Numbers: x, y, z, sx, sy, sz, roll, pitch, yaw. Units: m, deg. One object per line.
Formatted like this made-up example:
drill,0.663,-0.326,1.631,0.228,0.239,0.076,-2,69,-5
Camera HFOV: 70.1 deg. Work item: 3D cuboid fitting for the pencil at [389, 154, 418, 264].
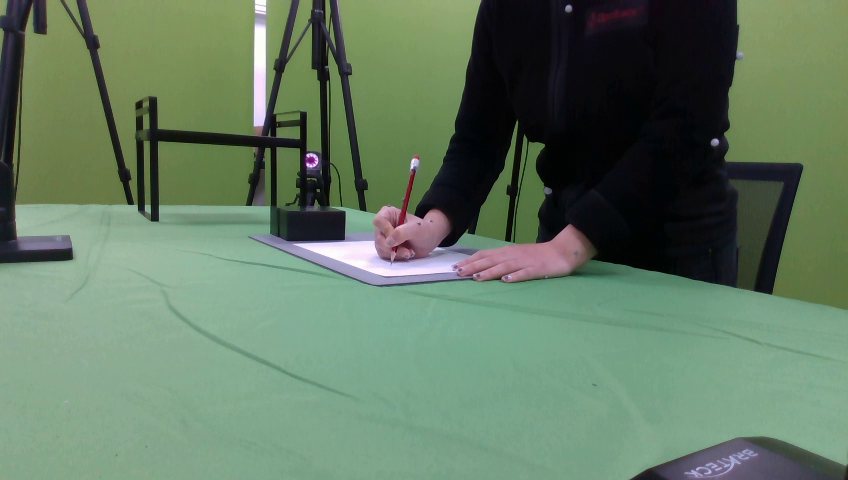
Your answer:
pencil,-0.029,-0.047,0.847,0.012,0.194,0.012,8,-34,6
